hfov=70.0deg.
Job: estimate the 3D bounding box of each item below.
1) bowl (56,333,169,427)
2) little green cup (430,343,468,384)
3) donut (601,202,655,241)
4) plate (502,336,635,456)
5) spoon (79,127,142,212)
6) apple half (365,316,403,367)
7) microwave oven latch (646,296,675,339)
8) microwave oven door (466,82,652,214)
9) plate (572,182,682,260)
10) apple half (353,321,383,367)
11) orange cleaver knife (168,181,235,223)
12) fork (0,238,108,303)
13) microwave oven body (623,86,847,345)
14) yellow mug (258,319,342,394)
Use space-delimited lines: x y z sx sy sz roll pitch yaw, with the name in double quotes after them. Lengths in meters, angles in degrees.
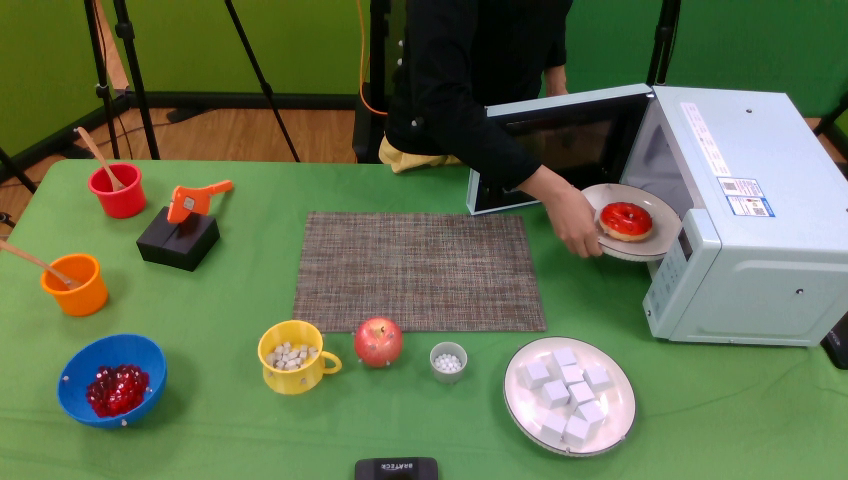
-0.456 0.222 0.911 0.151 0.077 0.150 3 46 -2 "bowl"
0.039 0.203 0.993 0.061 0.039 0.061 2 46 -2 "little green cup"
0.379 -0.036 1.126 0.099 0.048 0.098 2 36 -2 "donut"
0.225 0.249 0.963 0.208 0.039 0.206 2 46 -2 "plate"
-0.624 -0.140 1.203 0.041 0.021 0.194 -33 101 -25 "spoon"
-0.063 0.165 1.000 0.053 0.075 0.080 -16 45 -24 "apple half"
0.412 0.134 1.061 0.030 0.029 0.078 4 45 1 "microwave oven latch"
0.265 -0.183 1.216 0.356 0.245 0.039 -12 48 -15 "microwave oven door"
0.379 -0.031 1.136 0.209 0.038 0.208 4 42 -3 "plate"
-0.097 0.177 0.984 0.033 0.081 0.081 -17 49 -24 "apple half"
-0.436 -0.077 1.196 0.012 0.077 0.211 16 15 10 "orange cleaver knife"
-0.633 0.048 1.017 0.208 0.018 0.028 40 42 -27 "fork"
0.567 -0.053 1.118 0.326 0.261 0.439 2 45 -1 "microwave oven body"
-0.195 0.188 0.972 0.131 0.064 0.099 9 47 4 "yellow mug"
